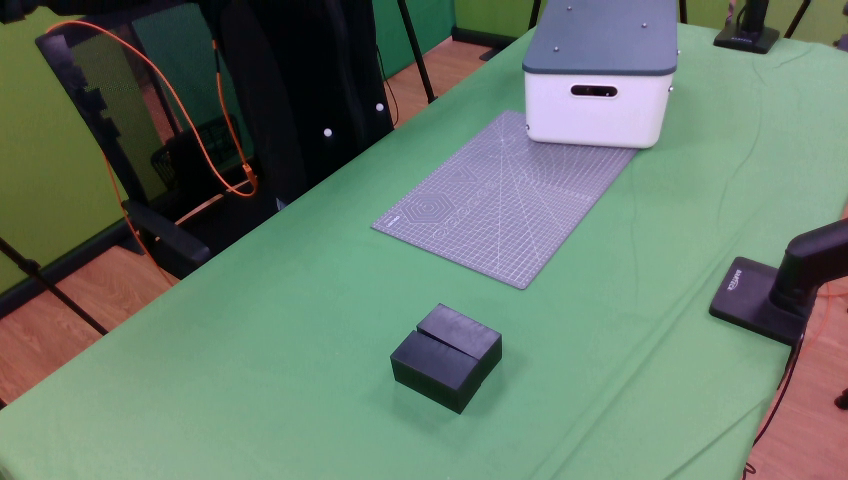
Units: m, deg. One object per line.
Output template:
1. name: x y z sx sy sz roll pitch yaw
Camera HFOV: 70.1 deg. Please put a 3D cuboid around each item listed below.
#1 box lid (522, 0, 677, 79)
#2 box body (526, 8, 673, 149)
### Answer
1. box lid: 0.346 -0.397 1.163 0.262 0.015 0.371 6 41 17
2. box body: 0.356 -0.342 1.212 0.253 0.161 0.363 7 42 17
